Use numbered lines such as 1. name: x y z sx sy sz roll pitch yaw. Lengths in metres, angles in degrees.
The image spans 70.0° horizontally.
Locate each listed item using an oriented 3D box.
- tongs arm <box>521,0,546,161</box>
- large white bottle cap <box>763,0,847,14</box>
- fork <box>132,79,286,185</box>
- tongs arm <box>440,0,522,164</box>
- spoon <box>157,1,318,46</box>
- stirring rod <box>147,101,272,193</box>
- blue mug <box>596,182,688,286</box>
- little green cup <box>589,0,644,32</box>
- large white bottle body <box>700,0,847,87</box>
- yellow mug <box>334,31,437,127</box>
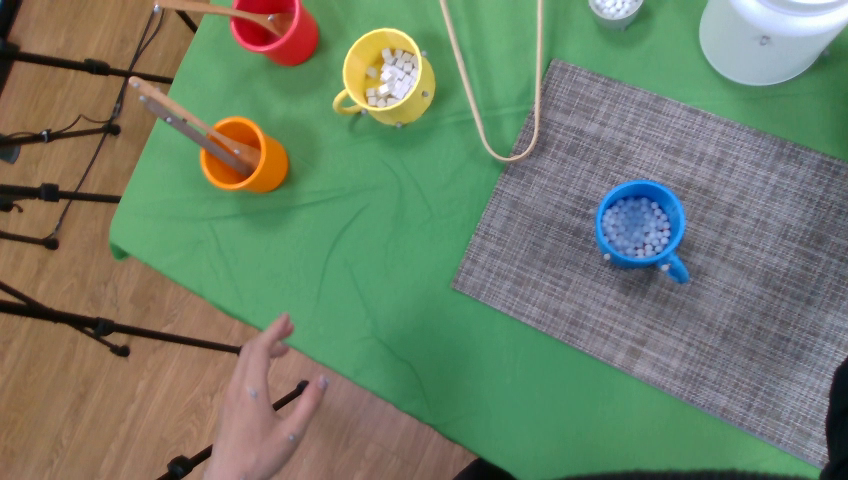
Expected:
1. tongs arm: 0.128 -0.287 0.708 0.028 0.028 0.387 0 92 6
2. large white bottle cap: 0.327 -0.246 0.504 0.114 0.018 0.114 -1 85 15
3. fork: -0.264 -0.133 0.756 0.209 0.018 0.028 35 95 -29
4. tongs arm: 0.047 -0.274 0.724 0.051 0.026 0.384 -14 89 9
5. spoon: -0.231 -0.279 0.763 0.195 0.021 0.041 3 83 -29
6. stirring rod: -0.264 -0.113 0.758 0.014 0.178 0.006 -58 30 -10
7. blue mug: 0.233 0.001 0.634 0.082 0.106 0.116 -40 77 8
8. little green cup: 0.221 -0.272 0.698 0.061 0.039 0.061 -1 86 15
9. large white bottle body: 0.350 -0.239 0.585 0.130 0.185 0.130 -1 84 15
10. yellow mug: -0.054 -0.189 0.750 0.131 0.064 0.099 -28 79 12
